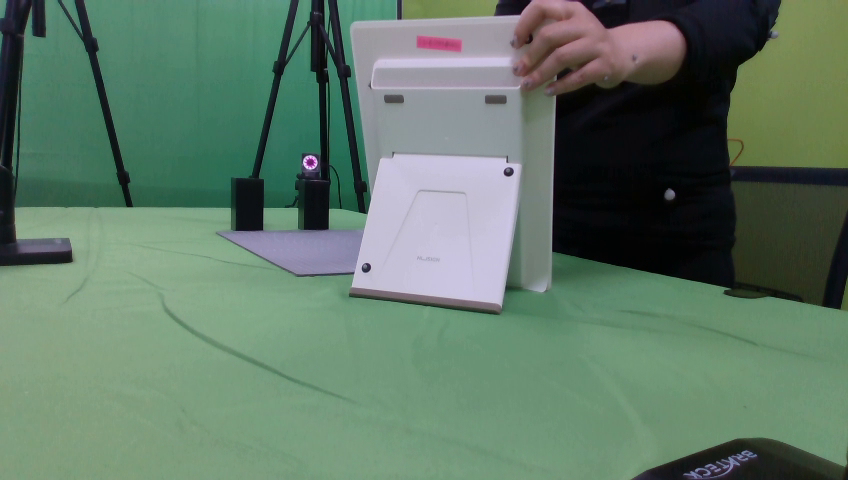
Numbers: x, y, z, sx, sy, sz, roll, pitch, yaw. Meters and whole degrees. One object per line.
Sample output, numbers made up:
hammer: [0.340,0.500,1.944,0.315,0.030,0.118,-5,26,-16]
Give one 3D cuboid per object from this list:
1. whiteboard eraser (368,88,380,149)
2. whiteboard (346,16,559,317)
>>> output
whiteboard eraser: [-0.040,-0.150,0.664,0.041,0.101,0.019,5,18,12]
whiteboard: [0.012,-0.056,0.609,0.216,0.305,0.144,5,26,19]
